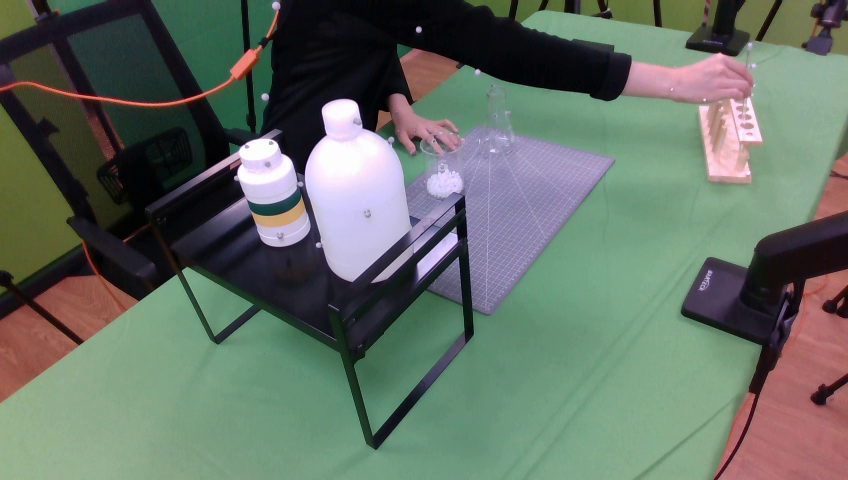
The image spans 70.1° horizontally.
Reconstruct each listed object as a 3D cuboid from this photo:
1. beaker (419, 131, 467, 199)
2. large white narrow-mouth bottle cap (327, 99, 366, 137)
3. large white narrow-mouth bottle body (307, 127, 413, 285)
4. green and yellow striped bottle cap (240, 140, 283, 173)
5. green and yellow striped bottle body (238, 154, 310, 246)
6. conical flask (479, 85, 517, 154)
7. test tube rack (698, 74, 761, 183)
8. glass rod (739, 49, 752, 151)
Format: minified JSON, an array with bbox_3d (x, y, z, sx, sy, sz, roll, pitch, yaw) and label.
[{"bbox_3d":[0.037,-0.130,1.061,0.084,0.100,0.073,-14,41,-10],"label":"beaker"},{"bbox_3d":[-0.075,-0.118,0.582,0.038,0.024,0.037,-3,40,3],"label":"large white narrow-mouth bottle cap"},{"bbox_3d":[-0.069,-0.051,0.638,0.102,0.195,0.101,-3,40,3],"label":"large white narrow-mouth bottle body"},{"bbox_3d":[-0.183,-0.094,0.680,0.045,0.020,0.045,-4,38,4],"label":"green and yellow striped bottle cap"},{"bbox_3d":[-0.178,-0.056,0.714,0.063,0.120,0.063,-4,40,4],"label":"green and yellow striped bottle body"},{"bbox_3d":[0.139,-0.230,1.145,0.075,0.122,0.075,-4,41,4],"label":"conical flask"},{"bbox_3d":[0.547,-0.208,1.095,0.066,0.085,0.242,5,42,15],"label":"test tube rack"},{"bbox_3d":[0.526,-0.217,0.990,0.008,0.201,0.008,-11,37,9],"label":"glass rod"}]
